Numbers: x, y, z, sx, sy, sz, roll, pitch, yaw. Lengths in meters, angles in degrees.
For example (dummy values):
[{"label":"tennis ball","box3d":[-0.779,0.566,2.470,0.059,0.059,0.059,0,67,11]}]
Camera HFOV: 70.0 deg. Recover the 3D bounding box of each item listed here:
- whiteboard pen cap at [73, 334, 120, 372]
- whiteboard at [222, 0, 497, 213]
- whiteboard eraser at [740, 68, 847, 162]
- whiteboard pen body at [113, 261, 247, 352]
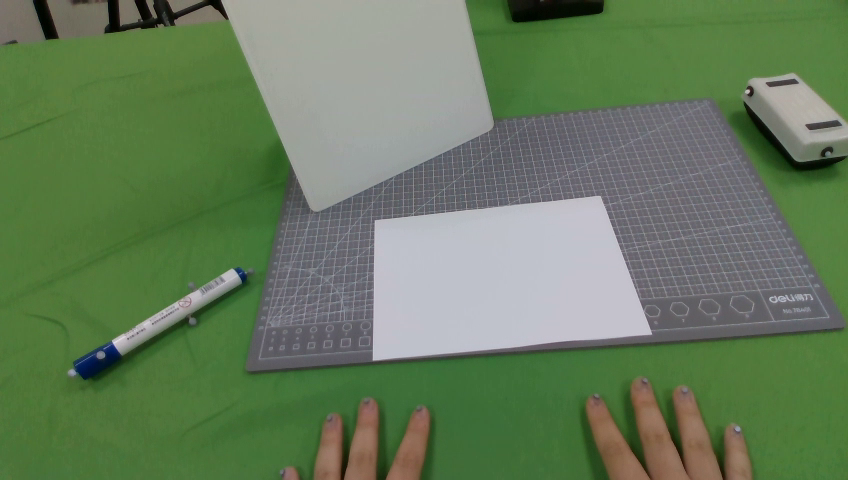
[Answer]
[{"label":"whiteboard pen cap","box3d":[-0.255,0.087,0.475,0.033,0.018,0.018,-36,52,-25]},{"label":"whiteboard","box3d":[-0.086,-0.223,0.593,0.217,0.308,0.142,-27,29,-16]},{"label":"whiteboard eraser","box3d":[0.354,-0.119,0.579,0.055,0.042,0.111,-10,47,0]},{"label":"whiteboard pen body","box3d":[-0.210,0.059,0.499,0.141,0.017,0.017,-34,52,-24]}]
